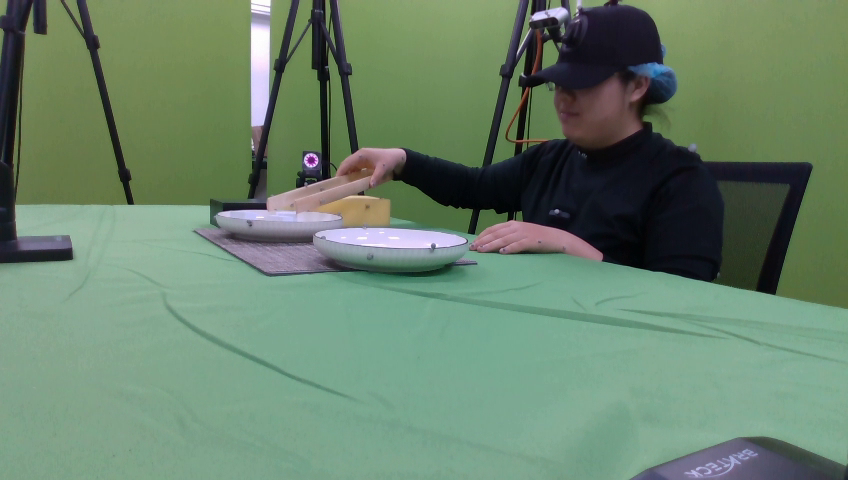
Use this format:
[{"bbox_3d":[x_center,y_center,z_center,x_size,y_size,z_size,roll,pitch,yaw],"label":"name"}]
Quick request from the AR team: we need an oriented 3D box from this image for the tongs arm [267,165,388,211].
[{"bbox_3d":[-0.176,-0.110,1.208,0.050,0.026,0.386,3,16,22],"label":"tongs arm"}]

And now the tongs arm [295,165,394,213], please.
[{"bbox_3d":[-0.143,-0.107,1.193,0.028,0.028,0.389,-1,15,24],"label":"tongs arm"}]

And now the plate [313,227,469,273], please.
[{"bbox_3d":[-0.044,0.012,0.807,0.209,0.038,0.209,2,7,0],"label":"plate"}]

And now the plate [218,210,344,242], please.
[{"bbox_3d":[-0.241,-0.024,1.026,0.208,0.039,0.207,3,7,0],"label":"plate"}]

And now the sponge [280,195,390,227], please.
[{"bbox_3d":[-0.189,-0.063,1.291,0.208,0.061,0.117,-2,10,-35],"label":"sponge"}]
